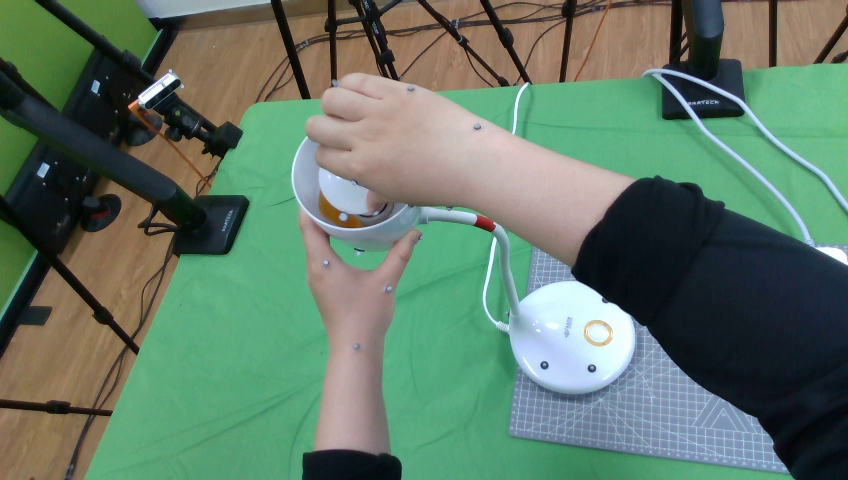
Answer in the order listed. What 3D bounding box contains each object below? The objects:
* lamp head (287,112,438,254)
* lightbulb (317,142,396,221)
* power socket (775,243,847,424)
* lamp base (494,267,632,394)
[{"bbox_3d":[-0.046,-0.036,0.540,0.112,0.124,0.111,-4,67,11],"label":"lamp head"},{"bbox_3d":[-0.049,-0.042,0.513,0.059,0.108,0.059,-5,71,16],"label":"lightbulb"},{"bbox_3d":[0.471,0.102,0.721,0.072,0.033,0.225,1,58,18],"label":"power socket"},{"bbox_3d":[0.158,0.086,0.743,0.178,0.182,0.159,-5,57,19],"label":"lamp base"}]
